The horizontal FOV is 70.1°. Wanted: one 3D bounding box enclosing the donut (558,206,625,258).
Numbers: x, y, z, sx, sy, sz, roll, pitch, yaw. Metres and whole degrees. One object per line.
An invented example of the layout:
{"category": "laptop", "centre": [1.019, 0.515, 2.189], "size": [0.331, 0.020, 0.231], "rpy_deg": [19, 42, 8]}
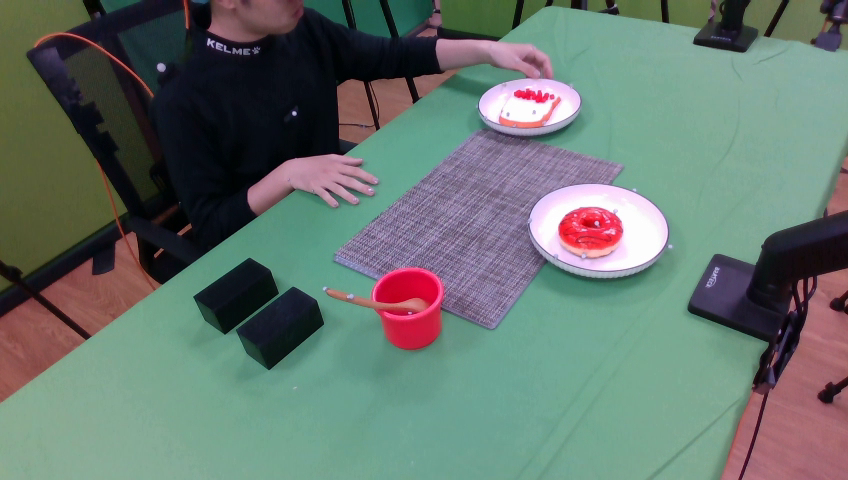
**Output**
{"category": "donut", "centre": [0.254, -0.015, 0.917], "size": [0.099, 0.048, 0.098], "rpy_deg": [-5, 41, 5]}

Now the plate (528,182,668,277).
{"category": "plate", "centre": [0.264, -0.014, 0.933], "size": [0.207, 0.039, 0.206], "rpy_deg": [-3, 42, 3]}

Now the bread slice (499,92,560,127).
{"category": "bread slice", "centre": [0.214, -0.268, 1.243], "size": [0.104, 0.019, 0.131], "rpy_deg": [12, 43, 21]}

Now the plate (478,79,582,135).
{"category": "plate", "centre": [0.216, -0.268, 1.239], "size": [0.209, 0.038, 0.208], "rpy_deg": [-4, 40, 4]}

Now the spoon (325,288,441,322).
{"category": "spoon", "centre": [-0.047, 0.084, 0.776], "size": [0.195, 0.021, 0.041], "rpy_deg": [12, 27, -42]}
